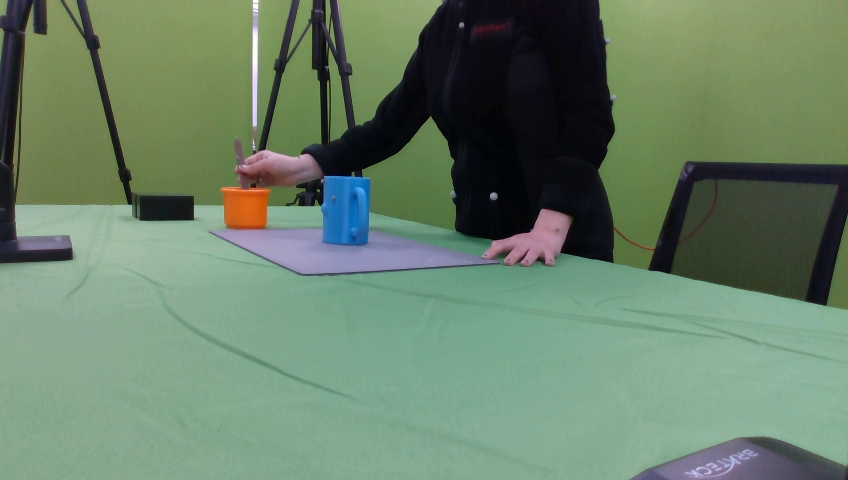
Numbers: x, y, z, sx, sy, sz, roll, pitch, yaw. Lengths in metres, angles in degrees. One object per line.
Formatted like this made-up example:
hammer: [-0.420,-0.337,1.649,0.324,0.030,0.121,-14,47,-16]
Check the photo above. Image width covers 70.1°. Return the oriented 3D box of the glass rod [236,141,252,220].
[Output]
glass rod: [-0.350,-0.119,1.171,0.008,0.199,0.008,-14,-31,-8]

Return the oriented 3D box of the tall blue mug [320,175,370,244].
tall blue mug: [-0.117,-0.049,0.991,0.106,0.108,0.078,7,8,33]
